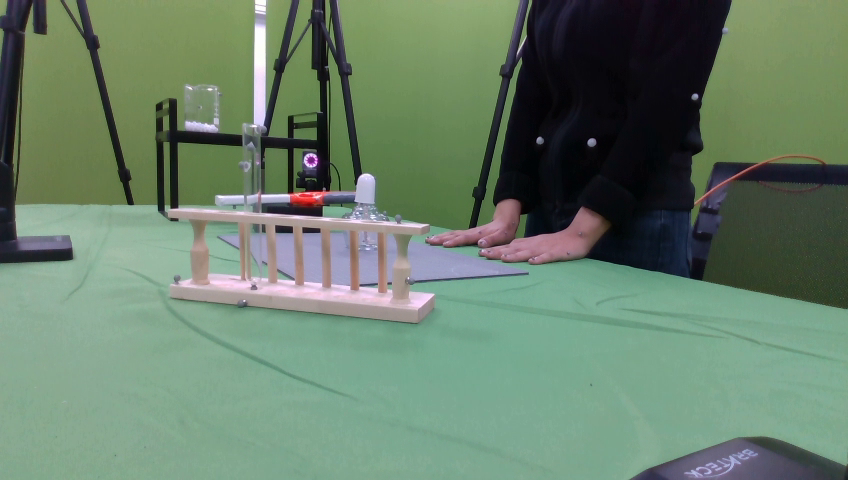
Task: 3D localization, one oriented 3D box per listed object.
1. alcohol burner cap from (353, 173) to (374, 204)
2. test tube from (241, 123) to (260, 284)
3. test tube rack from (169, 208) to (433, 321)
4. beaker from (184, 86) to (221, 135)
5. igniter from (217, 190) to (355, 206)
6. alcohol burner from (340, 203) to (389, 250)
[{"bbox_3d":[-0.092,-0.081,0.936,0.034,0.048,0.034,6,10,-1],"label":"alcohol burner cap"},{"bbox_3d":[-0.160,-0.032,0.558,0.017,0.150,0.017,3,13,0],"label":"test tube"},{"bbox_3d":[-0.115,0.018,0.574,0.242,0.085,0.067,4,8,13],"label":"test tube rack"},{"bbox_3d":[-0.475,-0.277,1.296,0.074,0.100,0.084,2,8,-1],"label":"beaker"},{"bbox_3d":[-0.248,-0.079,1.152,0.278,0.025,0.057,-4,11,-27],"label":"igniter"},{"bbox_3d":[-0.093,-0.045,0.939,0.078,0.119,0.078,0,7,0],"label":"alcohol burner"}]
